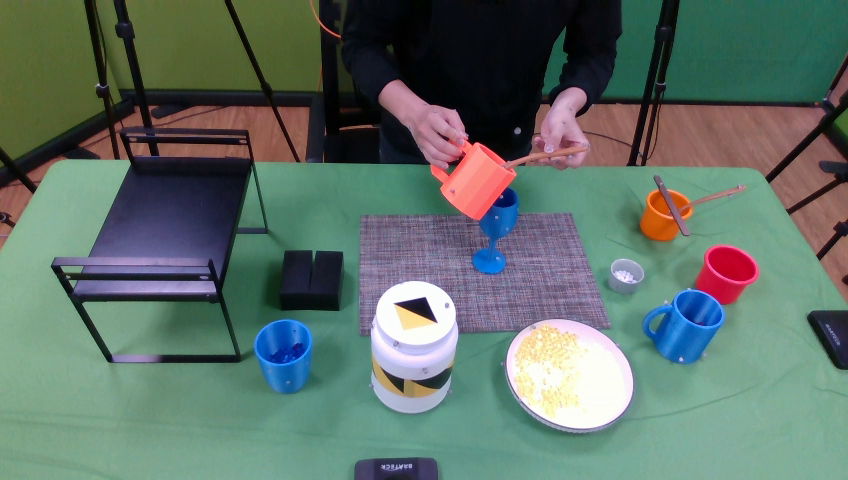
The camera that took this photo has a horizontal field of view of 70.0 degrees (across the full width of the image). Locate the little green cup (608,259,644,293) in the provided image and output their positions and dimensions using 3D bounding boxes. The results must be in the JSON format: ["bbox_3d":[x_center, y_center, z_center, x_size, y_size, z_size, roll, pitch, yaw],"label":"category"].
[{"bbox_3d":[0.379,0.070,1.147,0.061,0.039,0.061,3,45,-3],"label":"little green cup"}]

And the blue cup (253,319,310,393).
[{"bbox_3d":[-0.217,0.187,0.943,0.093,0.101,0.092,4,45,-3],"label":"blue cup"}]

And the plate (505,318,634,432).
[{"bbox_3d":[0.235,0.221,0.991,0.209,0.038,0.208,2,46,-2],"label":"plate"}]

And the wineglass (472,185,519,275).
[{"bbox_3d":[0.129,-0.018,1.113,0.074,0.173,0.073,2,46,-2],"label":"wineglass"}]

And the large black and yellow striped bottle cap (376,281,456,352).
[{"bbox_3d":[-0.011,0.107,0.863,0.115,0.019,0.114,2,47,-2],"label":"large black and yellow striped bottle cap"}]

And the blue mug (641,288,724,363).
[{"bbox_3d":[0.432,0.144,1.033,0.116,0.106,0.082,8,46,5],"label":"blue mug"}]

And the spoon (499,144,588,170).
[{"bbox_3d":[0.165,-0.128,0.967,0.194,0.022,0.041,-15,32,10],"label":"spoon"}]

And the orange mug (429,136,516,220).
[{"bbox_3d":[0.074,-0.109,0.987,0.126,0.101,0.083,44,19,2],"label":"orange mug"}]

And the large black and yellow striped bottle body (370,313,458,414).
[{"bbox_3d":[-0.017,0.165,0.924,0.131,0.185,0.130,2,46,-2],"label":"large black and yellow striped bottle body"}]

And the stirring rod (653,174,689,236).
[{"bbox_3d":[0.491,-0.072,1.211,0.014,0.006,0.175,0,47,-6],"label":"stirring rod"}]

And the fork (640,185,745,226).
[{"bbox_3d":[0.534,-0.069,1.215,0.207,0.019,0.028,-26,27,33],"label":"fork"}]
